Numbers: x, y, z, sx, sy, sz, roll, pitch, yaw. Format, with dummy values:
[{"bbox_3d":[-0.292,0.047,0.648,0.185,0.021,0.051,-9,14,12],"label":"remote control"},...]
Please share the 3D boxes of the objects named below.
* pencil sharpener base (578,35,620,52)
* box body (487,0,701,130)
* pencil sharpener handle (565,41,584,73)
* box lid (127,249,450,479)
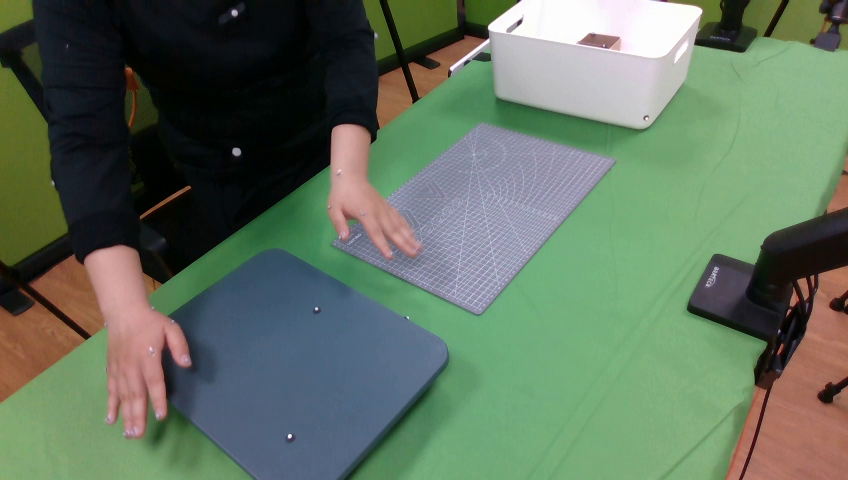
[{"bbox_3d":[0.362,-0.367,1.273,0.076,0.107,0.061,20,48,30],"label":"pencil sharpener base"},{"bbox_3d":[0.345,-0.379,1.257,0.361,0.161,0.255,20,48,29],"label":"box body"},{"bbox_3d":[0.318,-0.390,1.288,0.030,0.068,0.036,20,39,30],"label":"pencil sharpener handle"},{"bbox_3d":[-0.177,0.146,0.768,0.368,0.015,0.264,24,50,32],"label":"box lid"}]
